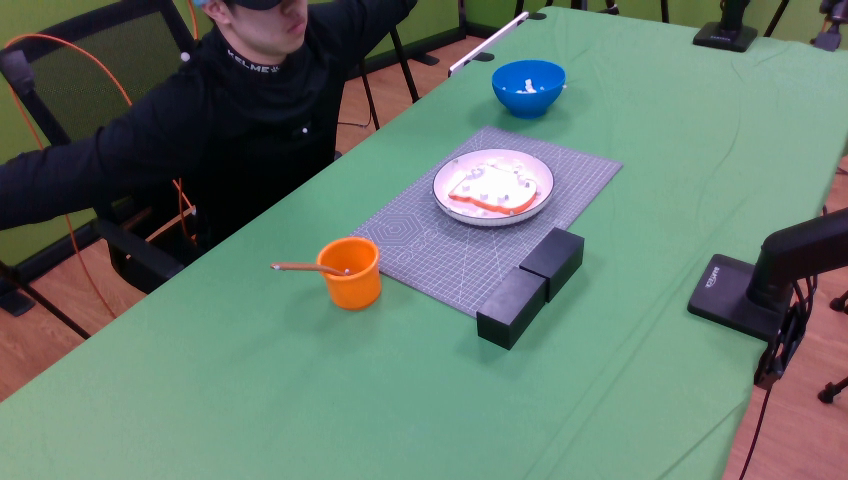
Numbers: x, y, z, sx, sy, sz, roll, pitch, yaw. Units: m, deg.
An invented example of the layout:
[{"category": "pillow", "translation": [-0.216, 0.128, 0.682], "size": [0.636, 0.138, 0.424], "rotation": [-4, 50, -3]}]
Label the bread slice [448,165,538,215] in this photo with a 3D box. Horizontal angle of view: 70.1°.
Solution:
[{"category": "bread slice", "translation": [0.126, -0.085, 1.037], "size": [0.133, 0.018, 0.107], "rotation": [17, 45, 27]}]

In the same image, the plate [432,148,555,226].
[{"category": "plate", "translation": [0.120, -0.087, 1.037], "size": [0.209, 0.038, 0.208], "rotation": [-4, 40, 4]}]

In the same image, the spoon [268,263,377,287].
[{"category": "spoon", "translation": [-0.137, 0.045, 0.839], "size": [0.041, 0.195, 0.021], "rotation": [28, 96, 38]}]

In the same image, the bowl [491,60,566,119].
[{"category": "bowl", "translation": [0.215, -0.302, 1.248], "size": [0.151, 0.077, 0.150], "rotation": [-4, 40, 4]}]
